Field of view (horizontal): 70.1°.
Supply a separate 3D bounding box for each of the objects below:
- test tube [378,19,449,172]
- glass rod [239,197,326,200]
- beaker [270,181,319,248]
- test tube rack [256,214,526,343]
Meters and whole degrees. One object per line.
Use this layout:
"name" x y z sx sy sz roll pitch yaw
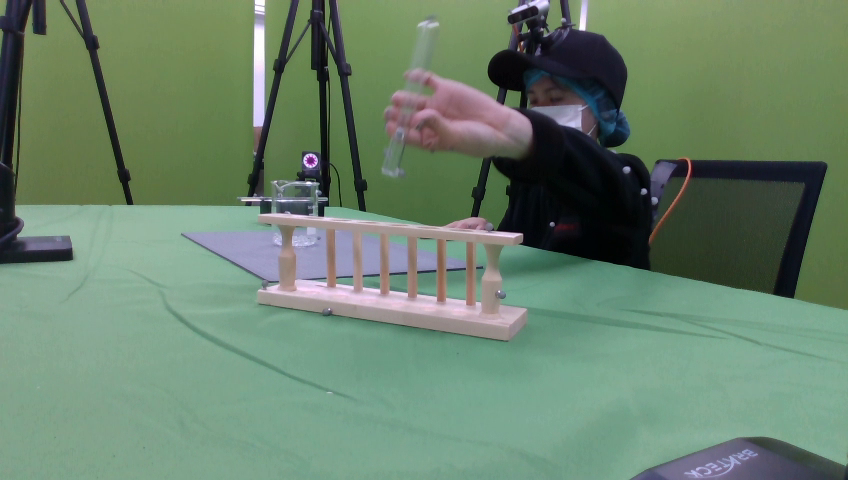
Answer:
"test tube" -0.009 -0.135 0.566 0.017 0.150 0.017 22 1 0
"glass rod" -0.287 -0.087 1.250 0.201 0.008 0.008 -4 10 -42
"beaker" -0.203 -0.040 0.935 0.074 0.100 0.084 5 8 18
"test tube rack" -0.032 0.027 0.546 0.241 0.085 0.067 5 8 22
